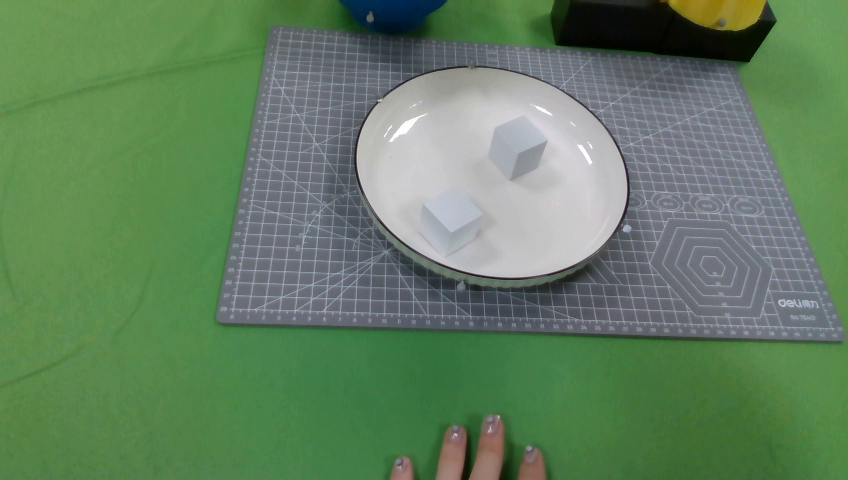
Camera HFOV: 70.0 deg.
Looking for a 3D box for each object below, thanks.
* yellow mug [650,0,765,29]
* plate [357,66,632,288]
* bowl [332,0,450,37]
[{"bbox_3d":[0.257,-0.246,0.547,0.131,0.064,0.099,-12,59,-13],"label":"yellow mug"},{"bbox_3d":[0.053,-0.050,0.468,0.208,0.039,0.205,3,57,-5],"label":"plate"},{"bbox_3d":[-0.033,-0.245,0.562,0.151,0.077,0.150,3,57,-4],"label":"bowl"}]
